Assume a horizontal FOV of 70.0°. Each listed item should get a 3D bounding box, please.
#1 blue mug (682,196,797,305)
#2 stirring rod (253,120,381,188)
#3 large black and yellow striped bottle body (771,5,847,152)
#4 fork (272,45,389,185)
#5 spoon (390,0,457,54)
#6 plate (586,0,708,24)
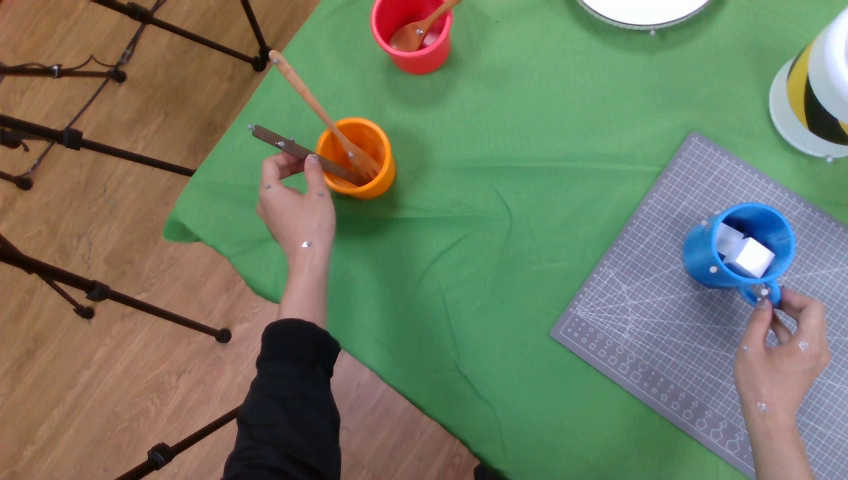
[{"bbox_3d":[0.344,0.017,0.655,0.082,0.106,0.116,-26,82,4],"label":"blue mug"},{"bbox_3d":[-0.118,-0.096,0.700,0.006,0.178,0.014,6,77,48],"label":"stirring rod"},{"bbox_3d":[0.461,-0.176,0.623,0.130,0.184,0.130,-1,83,7],"label":"large black and yellow striped bottle body"},{"bbox_3d":[-0.106,-0.140,0.708,0.028,0.018,0.209,-34,125,7],"label":"fork"},{"bbox_3d":[0.024,-0.272,0.709,0.193,0.022,0.041,-20,74,49],"label":"spoon"},{"bbox_3d":[0.274,-0.360,0.740,0.207,0.039,0.207,-1,84,7],"label":"plate"}]
